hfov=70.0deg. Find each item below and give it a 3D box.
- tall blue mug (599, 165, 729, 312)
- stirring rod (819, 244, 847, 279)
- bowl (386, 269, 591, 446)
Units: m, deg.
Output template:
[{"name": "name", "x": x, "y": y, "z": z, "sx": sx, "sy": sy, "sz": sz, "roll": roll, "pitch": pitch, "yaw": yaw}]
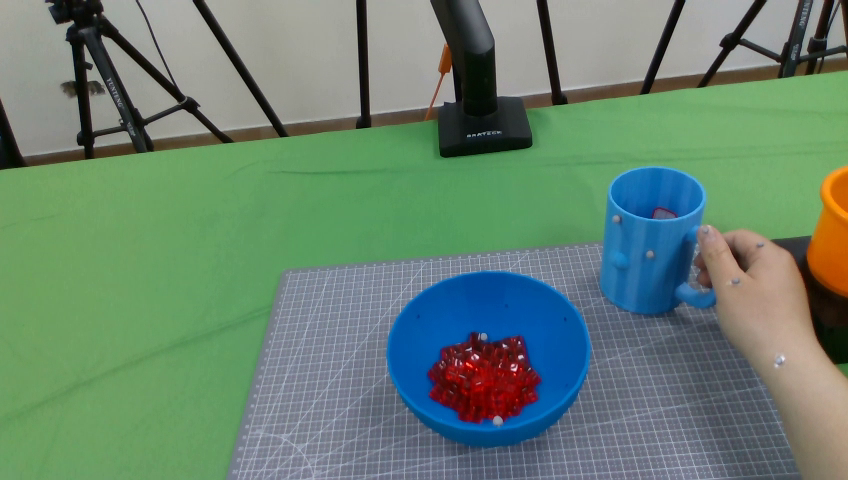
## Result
[{"name": "tall blue mug", "x": 0.211, "y": 0.003, "z": 0.527, "sx": 0.106, "sy": 0.109, "sz": 0.077, "roll": 14, "pitch": 46, "yaw": 25}, {"name": "stirring rod", "x": 0.370, "y": -0.033, "z": 0.445, "sx": 0.176, "sy": 0.006, "sz": 0.014, "roll": -48, "pitch": 35, "yaw": 21}, {"name": "bowl", "x": 0.050, "y": 0.101, "z": 0.470, "sx": 0.151, "sy": 0.077, "sz": 0.150, "roll": -5, "pitch": 41, "yaw": 5}]
